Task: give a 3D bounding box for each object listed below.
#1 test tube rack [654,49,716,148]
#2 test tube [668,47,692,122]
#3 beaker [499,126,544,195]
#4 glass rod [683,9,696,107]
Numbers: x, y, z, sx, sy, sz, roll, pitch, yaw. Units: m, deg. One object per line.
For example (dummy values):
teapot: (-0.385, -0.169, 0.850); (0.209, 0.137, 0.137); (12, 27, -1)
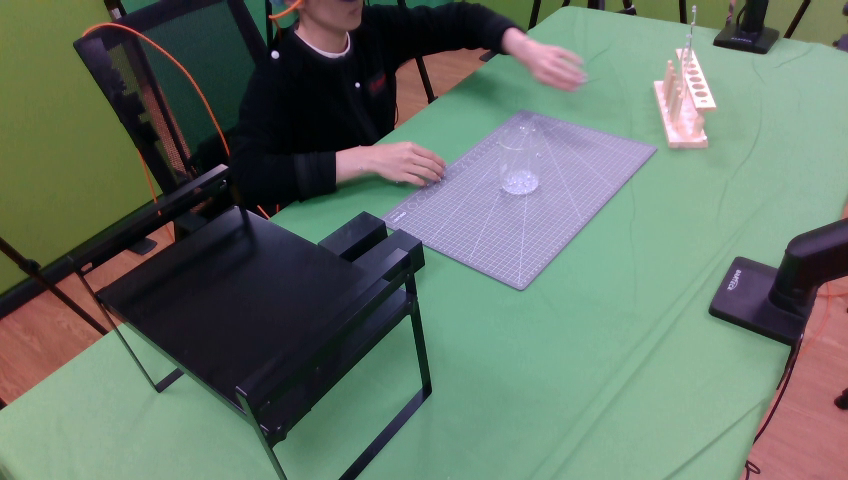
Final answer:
test tube rack: (0.502, -0.281, 1.176); (0.066, 0.085, 0.241); (2, 41, 11)
test tube: (0.472, -0.285, 1.117); (0.017, 0.151, 0.017); (-3, 43, 4)
beaker: (0.170, -0.136, 1.045); (0.073, 0.101, 0.084); (12, 44, 21)
glass rod: (0.501, -0.337, 1.140); (0.008, 0.201, 0.008); (-8, 41, 8)
